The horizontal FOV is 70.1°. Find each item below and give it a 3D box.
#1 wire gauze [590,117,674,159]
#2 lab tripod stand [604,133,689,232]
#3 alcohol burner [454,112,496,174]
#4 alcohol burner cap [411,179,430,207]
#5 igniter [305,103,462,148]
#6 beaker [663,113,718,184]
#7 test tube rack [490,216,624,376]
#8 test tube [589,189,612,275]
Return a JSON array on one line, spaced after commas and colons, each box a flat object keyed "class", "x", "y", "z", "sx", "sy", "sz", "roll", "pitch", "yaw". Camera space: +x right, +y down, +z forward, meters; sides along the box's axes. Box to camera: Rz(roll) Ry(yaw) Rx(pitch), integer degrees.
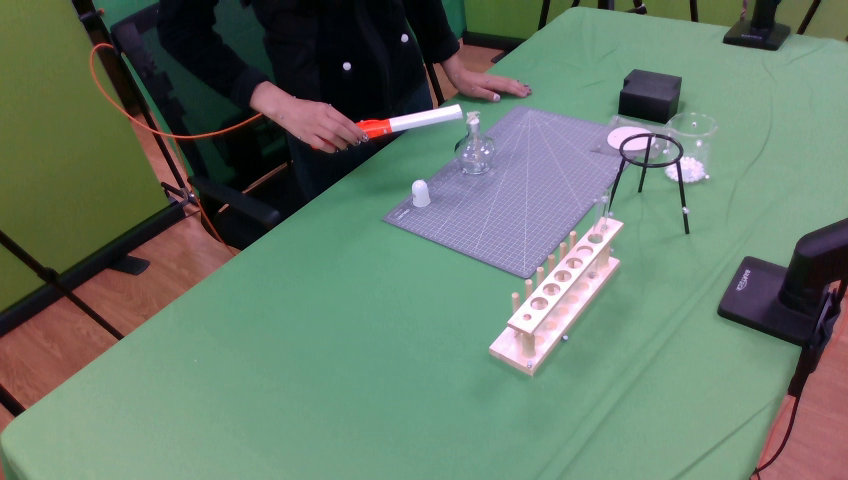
[{"class": "wire gauze", "x": 0.393, "y": -0.192, "z": 1.139, "sx": 0.120, "sy": 0.011, "sz": 0.125, "roll": 19, "pitch": 47, "yaw": 28}, {"class": "lab tripod stand", "x": 0.347, "y": -0.086, "z": 0.932, "sx": 0.148, "sy": 0.132, "sz": 0.147, "roll": -4, "pitch": 40, "yaw": 4}, {"class": "alcohol burner", "x": 0.092, "y": -0.181, "z": 1.102, "sx": 0.078, "sy": 0.119, "sz": 0.077, "roll": -5, "pitch": 42, "yaw": 5}, {"class": "alcohol burner cap", "x": -0.008, "y": -0.085, "z": 1.063, "sx": 0.034, "sy": 0.048, "sz": 0.033, "roll": -4, "pitch": 40, "yaw": 4}, {"class": "igniter", "x": -0.071, "y": -0.200, "z": 1.059, "sx": 0.277, "sy": 0.025, "sz": 0.057, "roll": -12, "pitch": 38, "yaw": -2}, {"class": "beaker", "x": 0.442, "y": -0.151, "z": 1.018, "sx": 0.084, "sy": 0.101, "sz": 0.074, "roll": -1, "pitch": 40, "yaw": 11}, {"class": "test tube rack", "x": 0.184, "y": 0.064, "z": 0.822, "sx": 0.066, "sy": 0.085, "sz": 0.243, "roll": 24, "pitch": 50, "yaw": 33}, {"class": "test tube", "x": 0.238, "y": -0.007, "z": 0.818, "sx": 0.017, "sy": 0.151, "sz": 0.017, "roll": -3, "pitch": 43, "yaw": 4}]
